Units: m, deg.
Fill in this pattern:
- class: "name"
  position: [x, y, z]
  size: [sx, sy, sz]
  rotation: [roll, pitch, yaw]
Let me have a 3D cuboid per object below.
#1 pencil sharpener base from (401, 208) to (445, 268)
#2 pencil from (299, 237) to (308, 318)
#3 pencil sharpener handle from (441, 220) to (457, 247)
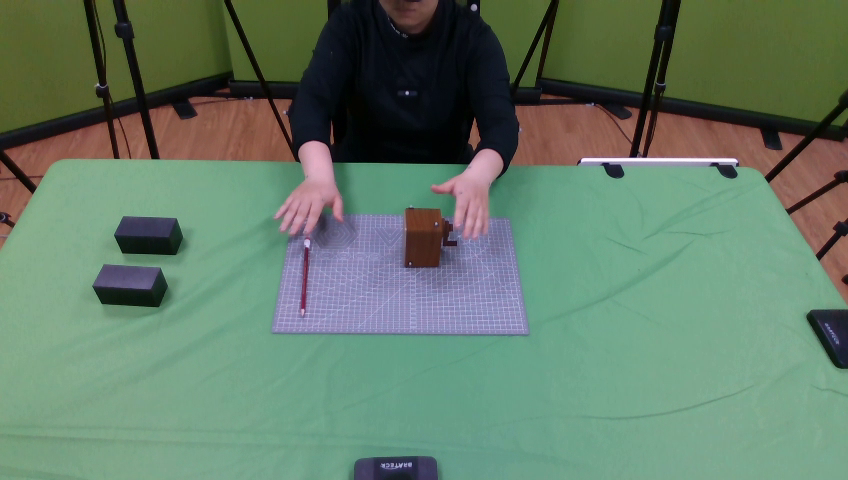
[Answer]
- class: "pencil sharpener base"
  position: [-0.003, -0.003, 1.136]
  size: [0.077, 0.107, 0.061]
  rotation: [0, 45, -5]
- class: "pencil"
  position: [-0.223, 0.066, 1.120]
  size: [0.012, 0.012, 0.192]
  rotation: [-2, 47, -6]
- class: "pencil sharpener handle"
  position: [0.048, -0.012, 1.133]
  size: [0.031, 0.068, 0.036]
  rotation: [0, 49, -5]
